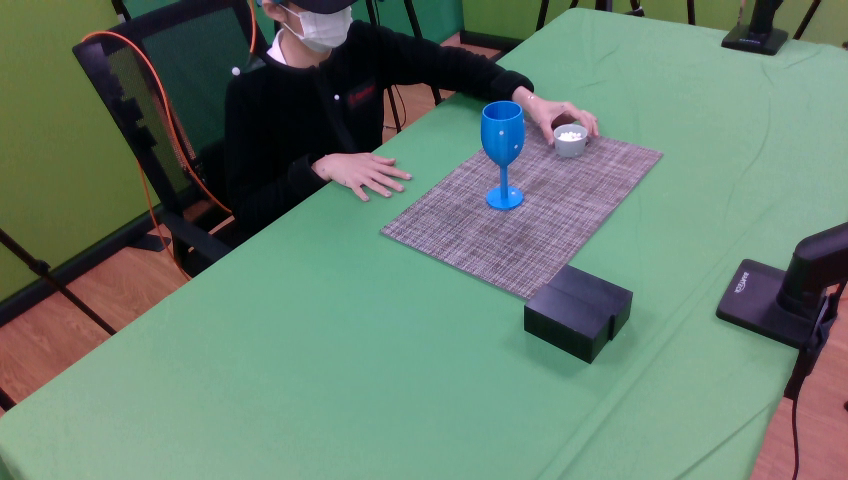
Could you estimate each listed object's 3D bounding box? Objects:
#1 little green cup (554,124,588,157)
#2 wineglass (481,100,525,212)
[{"bbox_3d":[0.273,-0.184,1.130,0.061,0.039,0.061,-2,42,3],"label":"little green cup"},{"bbox_3d":[0.131,-0.136,0.992,0.074,0.173,0.073,-5,40,4],"label":"wineglass"}]
